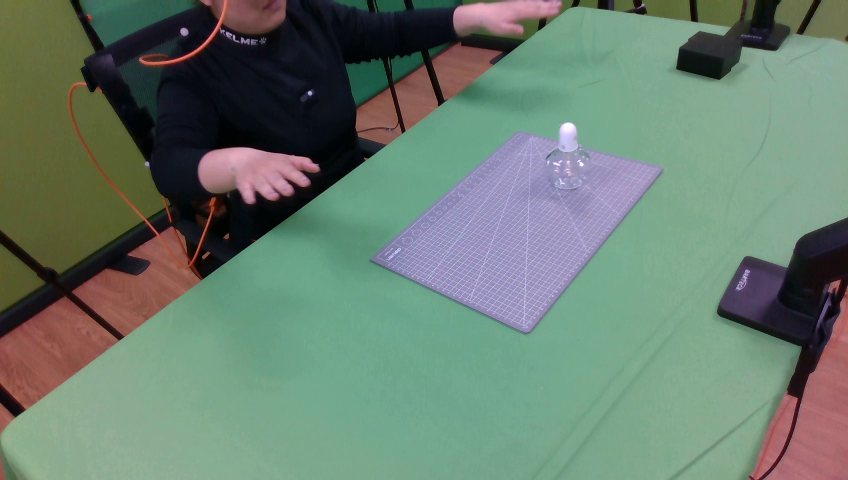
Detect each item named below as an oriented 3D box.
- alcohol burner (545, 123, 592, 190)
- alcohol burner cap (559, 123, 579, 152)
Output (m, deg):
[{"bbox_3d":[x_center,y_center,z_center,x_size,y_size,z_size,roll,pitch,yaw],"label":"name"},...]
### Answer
[{"bbox_3d":[0.247,-0.147,1.034,0.078,0.120,0.077,-7,41,6],"label":"alcohol burner"},{"bbox_3d":[0.241,-0.173,1.010,0.034,0.048,0.033,-8,44,8],"label":"alcohol burner cap"}]
